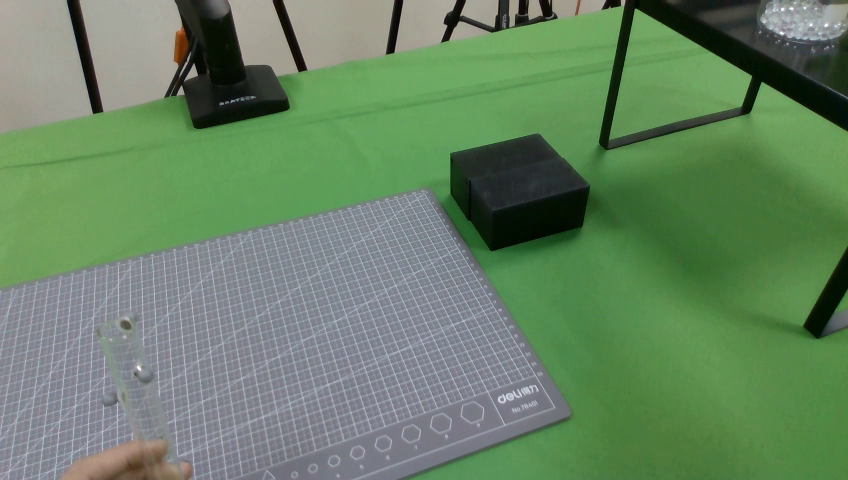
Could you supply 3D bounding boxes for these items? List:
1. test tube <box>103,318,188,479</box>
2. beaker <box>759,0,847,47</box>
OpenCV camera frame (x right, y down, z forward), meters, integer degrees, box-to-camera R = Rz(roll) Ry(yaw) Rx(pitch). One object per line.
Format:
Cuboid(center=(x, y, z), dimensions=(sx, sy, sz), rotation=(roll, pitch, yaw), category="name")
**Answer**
Cuboid(center=(-0.126, 0.101, 0.289), dimensions=(0.017, 0.151, 0.017), rotation=(0, 30, 0), category="test tube")
Cuboid(center=(0.307, -0.208, 0.465), dimensions=(0.084, 0.101, 0.073), rotation=(-13, 42, -11), category="beaker")
